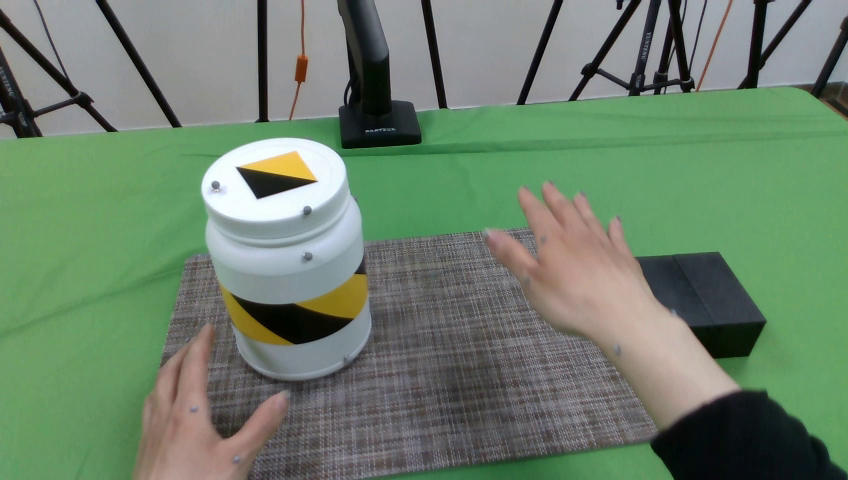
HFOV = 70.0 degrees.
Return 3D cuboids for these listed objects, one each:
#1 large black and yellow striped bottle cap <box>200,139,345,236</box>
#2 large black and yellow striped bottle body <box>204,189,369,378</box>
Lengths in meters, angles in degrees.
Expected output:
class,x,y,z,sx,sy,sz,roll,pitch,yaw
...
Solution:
class,x,y,z,sx,sy,sz,roll,pitch,yaw
large black and yellow striped bottle cap,-0.122,-0.046,0.493,0.115,0.019,0.114,1,42,0
large black and yellow striped bottle body,-0.120,0.021,0.549,0.131,0.185,0.129,0,40,0
